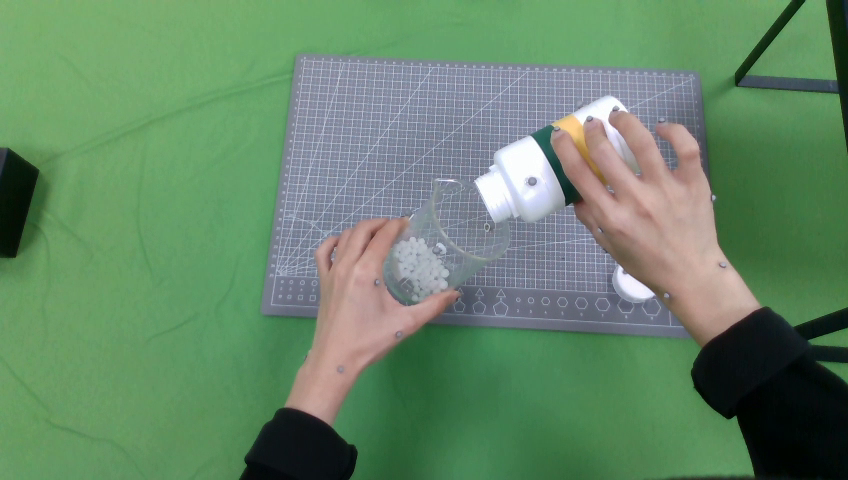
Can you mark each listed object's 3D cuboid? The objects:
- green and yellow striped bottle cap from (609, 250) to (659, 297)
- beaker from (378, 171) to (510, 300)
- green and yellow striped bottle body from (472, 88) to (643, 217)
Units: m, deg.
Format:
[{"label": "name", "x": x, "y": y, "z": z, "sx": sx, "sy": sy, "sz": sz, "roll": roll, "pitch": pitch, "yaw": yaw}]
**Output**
[{"label": "green and yellow striped bottle cap", "x": 0.207, "y": 0.032, "z": 0.596, "sx": 0.045, "sy": 0.020, "sz": 0.045, "roll": 0, "pitch": 70, "yaw": 0}, {"label": "beaker", "x": 0.010, "y": -0.001, "z": 0.509, "sx": 0.084, "sy": 0.100, "sz": 0.074, "roll": 52, "pitch": 46, "yaw": 5}, {"label": "green and yellow striped bottle body", "x": 0.098, "y": -0.061, "z": 0.462, "sx": 0.119, "sy": 0.063, "sz": 0.063, "roll": -27, "pitch": 73, "yaw": 5}]
